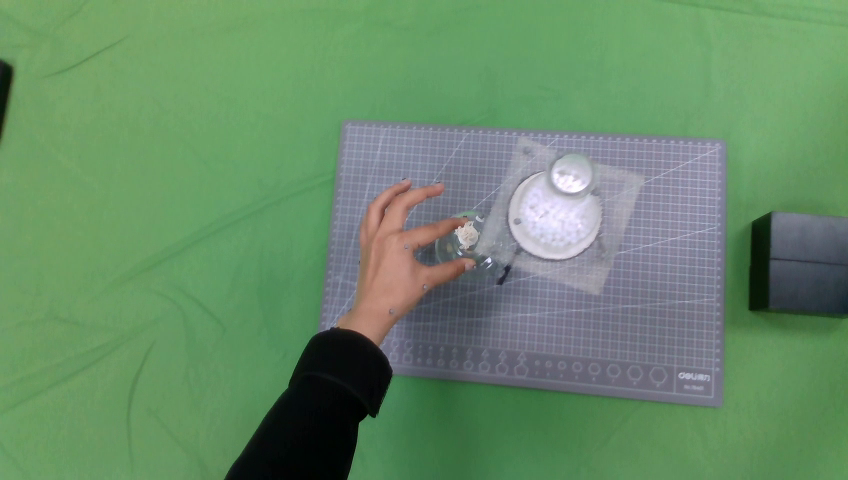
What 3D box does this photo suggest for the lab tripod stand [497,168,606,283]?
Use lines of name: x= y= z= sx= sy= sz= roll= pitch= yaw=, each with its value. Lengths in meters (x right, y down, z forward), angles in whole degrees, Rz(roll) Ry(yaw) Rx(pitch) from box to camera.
lab tripod stand: x=0.126 y=-0.017 z=0.631 sx=0.148 sy=0.132 sz=0.148 roll=-1 pitch=80 yaw=7

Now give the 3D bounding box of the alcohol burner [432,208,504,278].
alcohol burner: x=0.046 y=0.001 z=0.644 sx=0.078 sy=0.119 sz=0.077 roll=-1 pitch=82 yaw=6

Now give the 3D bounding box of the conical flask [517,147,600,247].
conical flask: x=0.118 y=-0.040 z=0.508 sx=0.075 sy=0.122 sz=0.075 roll=-1 pitch=79 yaw=6

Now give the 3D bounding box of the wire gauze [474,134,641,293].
wire gauze: x=0.125 y=-0.026 z=0.565 sx=0.121 sy=0.011 sz=0.125 roll=22 pitch=81 yaw=8
